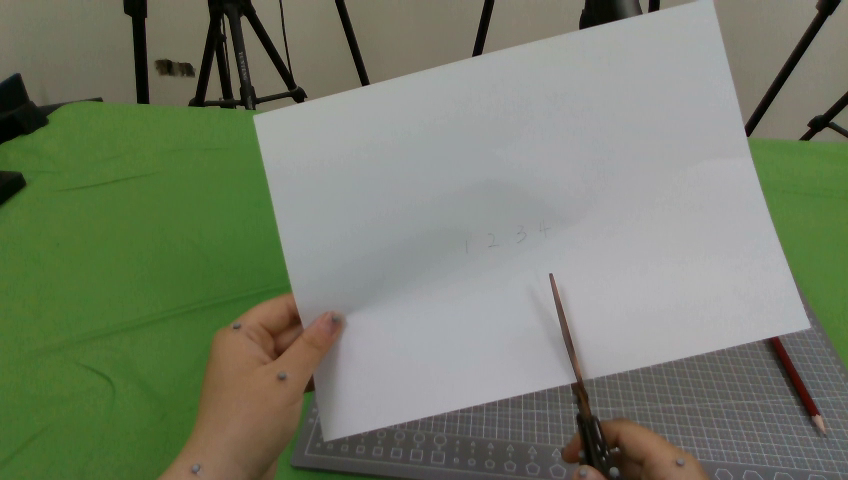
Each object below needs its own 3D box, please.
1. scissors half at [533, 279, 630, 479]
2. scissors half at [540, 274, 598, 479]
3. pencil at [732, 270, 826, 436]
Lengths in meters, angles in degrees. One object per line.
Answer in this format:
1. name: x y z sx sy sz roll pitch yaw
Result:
1. scissors half: 0.094 0.100 0.346 0.013 0.040 0.173 -16 63 -4
2. scissors half: 0.093 0.105 0.369 0.013 0.175 0.040 -16 6 -8
3. pencil: 0.313 0.092 0.541 0.012 0.012 0.192 2 38 2
